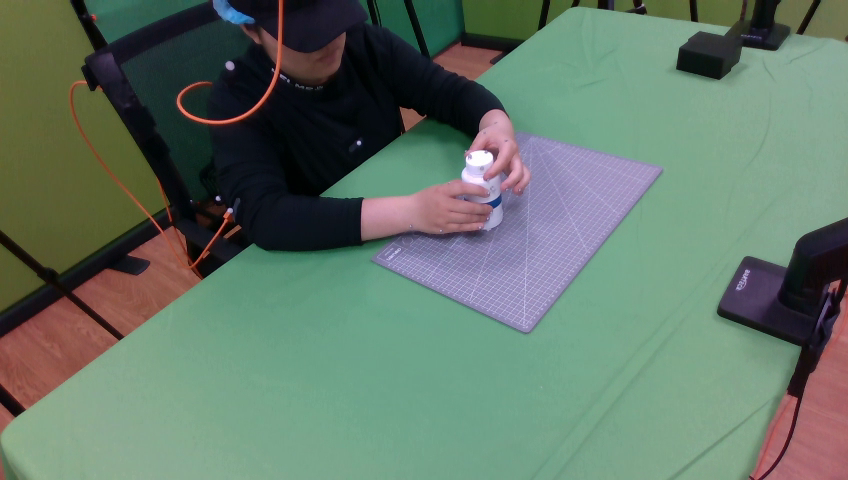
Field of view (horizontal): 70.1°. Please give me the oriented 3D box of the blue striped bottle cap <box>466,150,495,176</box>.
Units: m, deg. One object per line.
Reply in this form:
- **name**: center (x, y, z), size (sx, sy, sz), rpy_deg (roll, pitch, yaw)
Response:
- **blue striped bottle cap**: center (0.088, -0.121, 0.945), size (0.044, 0.021, 0.044), rpy_deg (-7, 38, 6)

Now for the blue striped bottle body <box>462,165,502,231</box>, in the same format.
- **blue striped bottle body**: center (0.094, -0.080, 0.978), size (0.063, 0.121, 0.063), rpy_deg (-4, 37, 4)
